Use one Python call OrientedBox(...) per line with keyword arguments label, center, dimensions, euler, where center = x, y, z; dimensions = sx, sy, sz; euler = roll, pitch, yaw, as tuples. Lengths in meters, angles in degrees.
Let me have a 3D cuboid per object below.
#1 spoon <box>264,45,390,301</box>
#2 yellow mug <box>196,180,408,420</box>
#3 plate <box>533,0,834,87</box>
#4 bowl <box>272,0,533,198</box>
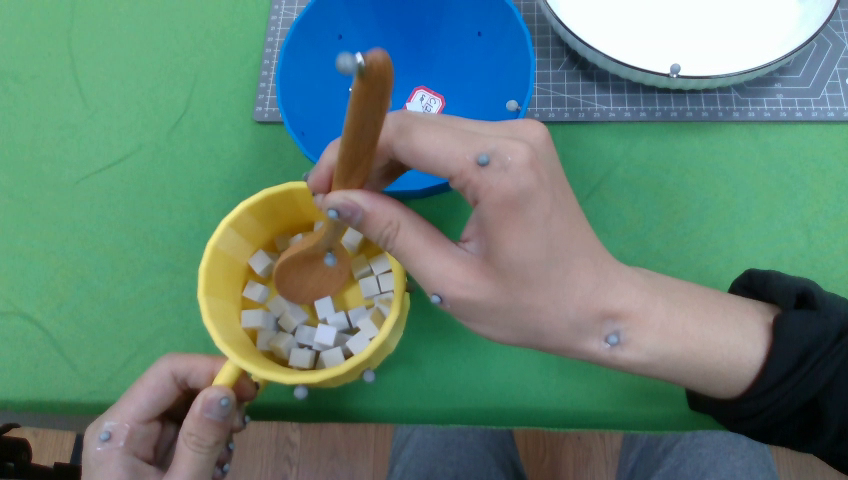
OrientedBox(label="spoon", center=(-0.041, -0.012, 0.258), dimensions=(0.042, 0.194, 0.021), euler=(0, 68, -20))
OrientedBox(label="yellow mug", center=(-0.068, 0.038, 0.317), dimensions=(0.099, 0.064, 0.130), euler=(34, 79, 7))
OrientedBox(label="plate", center=(0.173, -0.192, 0.423), dimensions=(0.209, 0.038, 0.207), euler=(-1, 70, 4))
OrientedBox(label="bowl", center=(-0.010, -0.088, 0.381), dimensions=(0.151, 0.077, 0.150), euler=(-1, 74, 5))
